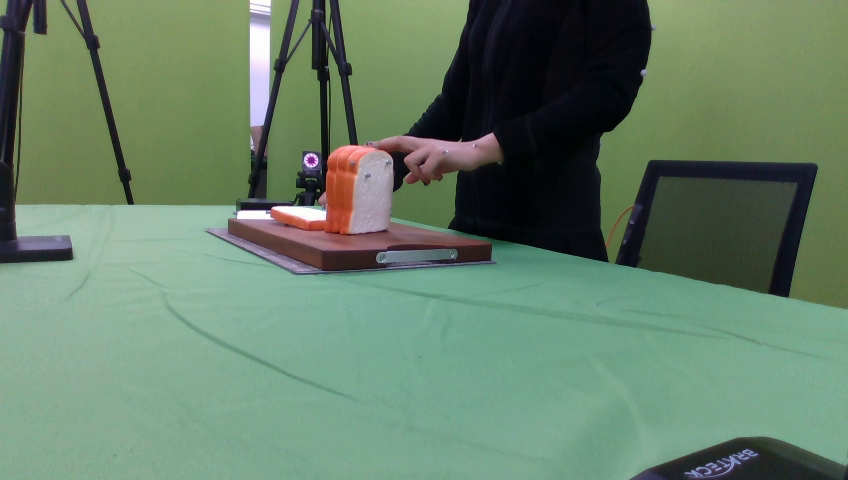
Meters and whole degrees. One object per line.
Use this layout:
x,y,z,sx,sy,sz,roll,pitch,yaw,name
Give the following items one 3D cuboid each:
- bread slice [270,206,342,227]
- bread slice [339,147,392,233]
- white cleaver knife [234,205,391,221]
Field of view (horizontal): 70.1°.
-0.188,-0.039,1.002,0.133,0.018,0.107,14,10,43,bread slice
-0.084,-0.075,0.916,0.019,0.131,0.105,14,14,31,bread slice
-0.198,-0.045,1.106,0.288,0.021,0.065,-3,23,-20,white cleaver knife
